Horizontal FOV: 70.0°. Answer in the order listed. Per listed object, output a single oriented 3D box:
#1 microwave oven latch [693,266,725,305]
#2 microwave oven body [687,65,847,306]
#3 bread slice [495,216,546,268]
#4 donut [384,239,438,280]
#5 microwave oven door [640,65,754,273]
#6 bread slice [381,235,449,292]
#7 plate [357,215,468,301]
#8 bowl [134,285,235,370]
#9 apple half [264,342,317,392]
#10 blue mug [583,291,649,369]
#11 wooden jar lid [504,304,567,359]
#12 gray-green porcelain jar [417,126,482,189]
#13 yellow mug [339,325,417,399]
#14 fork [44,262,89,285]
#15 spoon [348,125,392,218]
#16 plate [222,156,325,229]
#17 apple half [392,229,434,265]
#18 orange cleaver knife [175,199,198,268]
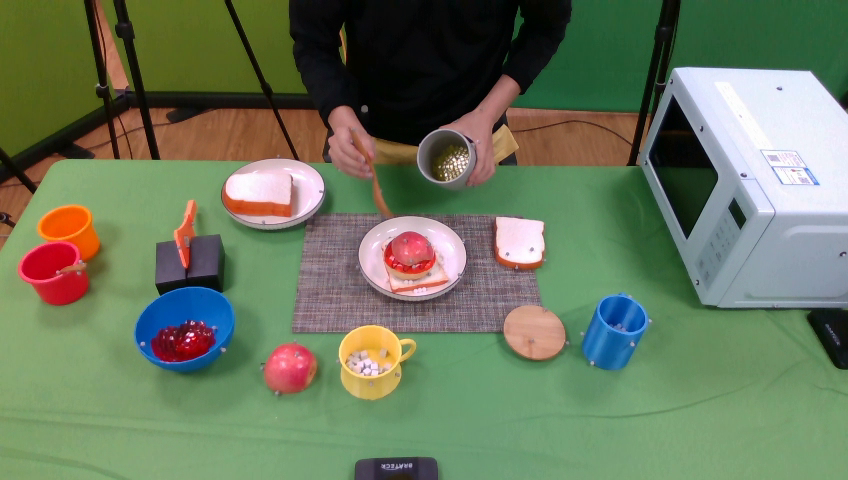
[{"bbox_3d":[0.523,0.082,1.115,0.030,0.029,0.078,3,46,0],"label":"microwave oven latch"},{"bbox_3d":[0.669,-0.111,1.176,0.326,0.261,0.439,0,46,-3],"label":"microwave oven body"},{"bbox_3d":[0.194,0.002,1.205,0.105,0.019,0.131,5,45,2],"label":"bread slice"},{"bbox_3d":[-0.025,0.030,1.109,0.099,0.048,0.098,2,46,-2],"label":"donut"},{"bbox_3d":[0.523,-0.147,1.193,0.039,0.245,0.353,0,47,-3],"label":"microwave oven door"},{"bbox_3d":[-0.027,0.040,1.141,0.107,0.018,0.133,-12,49,-15],"label":"bread slice"},{"bbox_3d":[-0.022,0.037,1.141,0.208,0.039,0.206,2,46,-2],"label":"plate"},{"bbox_3d":[-0.377,0.155,0.981,0.151,0.077,0.150,2,46,-2],"label":"bowl"},{"bbox_3d":[-0.214,0.198,0.970,0.074,0.053,0.080,19,48,10],"label":"apple half"},{"bbox_3d":[0.324,0.142,1.023,0.082,0.106,0.116,15,47,11],"label":"blue mug"},{"bbox_3d":[0.192,0.161,1.051,0.108,0.021,0.107,3,50,-3],"label":"wooden jar lid"},{"bbox_3d":[0.054,-0.156,1.180,0.106,0.127,0.105,-1,87,16],"label":"gray-green porcelain jar"},{"bbox_3d":[-0.072,0.190,0.978,0.131,0.064,0.099,-17,50,-20],"label":"yellow mug"},{"bbox_3d":[-0.598,0.054,1.014,0.207,0.019,0.028,-15,29,45],"label":"fork"},{"bbox_3d":[-0.091,-0.111,1.023,0.021,0.195,0.041,-28,38,-14],"label":"spoon"},{"bbox_3d":[-0.307,-0.095,1.251,0.209,0.038,0.208,2,46,-2],"label":"plate"},{"bbox_3d":[-0.021,0.005,1.083,0.081,0.033,0.081,7,49,-7],"label":"apple half"},{"bbox_3d":[-0.438,-0.017,1.138,0.012,0.077,0.210,-14,27,-7],"label":"orange cleaver knife"}]
